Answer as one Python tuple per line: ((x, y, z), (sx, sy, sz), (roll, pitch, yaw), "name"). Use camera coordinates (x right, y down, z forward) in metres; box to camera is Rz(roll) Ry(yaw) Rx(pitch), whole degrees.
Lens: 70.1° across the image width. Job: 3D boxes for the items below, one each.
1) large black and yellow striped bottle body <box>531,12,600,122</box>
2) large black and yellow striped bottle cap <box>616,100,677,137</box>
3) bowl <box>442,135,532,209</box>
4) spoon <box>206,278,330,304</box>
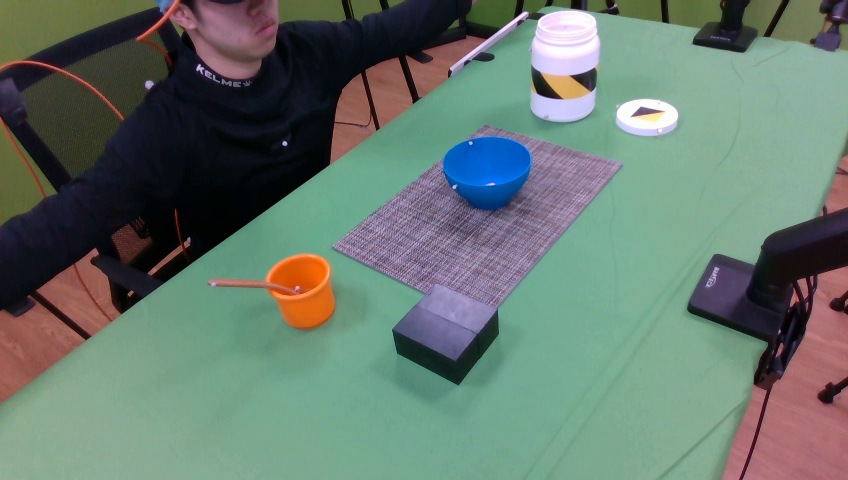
((0.279, -0.344, 1.202), (0.131, 0.185, 0.130), (-4, 41, 4), "large black and yellow striped bottle body")
((0.438, -0.241, 1.190), (0.115, 0.019, 0.114), (-4, 42, 4), "large black and yellow striped bottle cap")
((0.108, -0.106, 1.026), (0.151, 0.077, 0.150), (-4, 41, 4), "bowl")
((-0.207, 0.066, 0.824), (0.041, 0.195, 0.021), (34, 100, 40), "spoon")
